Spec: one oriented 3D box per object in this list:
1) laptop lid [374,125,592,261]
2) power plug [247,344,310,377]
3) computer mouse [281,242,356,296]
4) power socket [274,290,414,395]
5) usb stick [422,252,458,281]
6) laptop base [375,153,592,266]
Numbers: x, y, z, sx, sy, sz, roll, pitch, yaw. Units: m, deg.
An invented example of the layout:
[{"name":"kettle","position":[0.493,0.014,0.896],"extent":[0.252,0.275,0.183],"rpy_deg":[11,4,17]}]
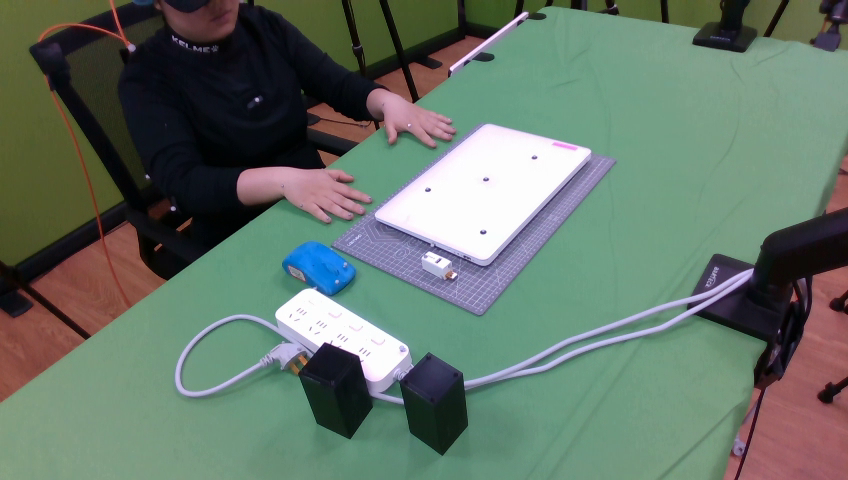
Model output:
[{"name":"laptop lid","position":[0.109,-0.101,1.057],"extent":[0.239,0.013,0.358],"rpy_deg":[23,48,34]},{"name":"power plug","position":[-0.187,0.169,0.798],"extent":[0.072,0.035,0.052],"rpy_deg":[-41,70,-5]},{"name":"computer mouse","position":[-0.164,0.041,0.934],"extent":[0.116,0.041,0.063],"rpy_deg":[27,48,28]},{"name":"power socket","position":[-0.114,0.133,0.820],"extent":[0.225,0.033,0.072],"rpy_deg":[25,49,33]},{"name":"usb stick","position":[0.025,0.042,0.908],"extent":[0.058,0.027,0.021],"rpy_deg":[27,49,31]},{"name":"laptop base","position":[0.112,-0.091,1.063],"extent":[0.233,0.023,0.355],"rpy_deg":[21,47,34]}]
